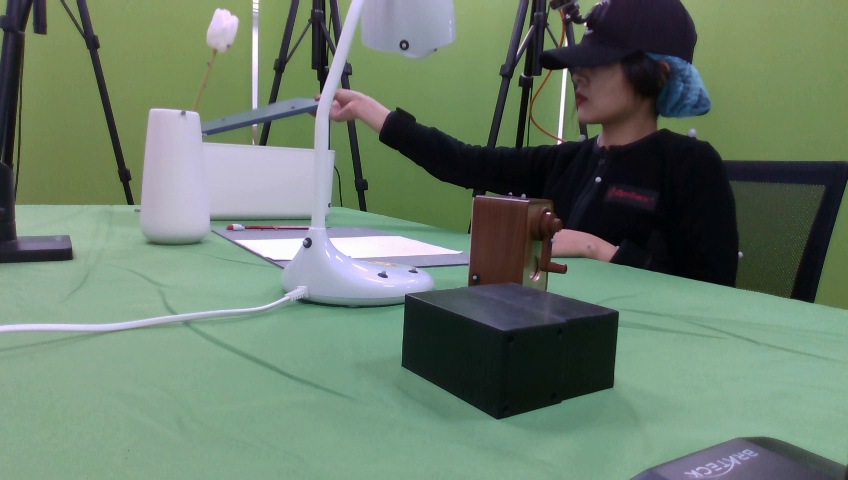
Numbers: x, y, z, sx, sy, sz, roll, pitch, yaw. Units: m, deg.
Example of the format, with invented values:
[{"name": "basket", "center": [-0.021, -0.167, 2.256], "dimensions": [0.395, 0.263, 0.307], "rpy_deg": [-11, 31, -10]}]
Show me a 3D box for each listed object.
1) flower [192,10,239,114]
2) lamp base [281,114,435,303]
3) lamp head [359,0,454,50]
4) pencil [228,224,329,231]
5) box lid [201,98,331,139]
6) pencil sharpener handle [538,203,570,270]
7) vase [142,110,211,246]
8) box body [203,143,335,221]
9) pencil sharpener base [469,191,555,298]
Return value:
[{"name": "flower", "center": [-0.354, -0.174, 0.915], "dimensions": [0.038, 0.361, 0.044], "rpy_deg": [18, -4, 12]}, {"name": "lamp base", "center": [-0.071, -0.035, 0.614], "dimensions": [0.160, 0.180, 0.180], "rpy_deg": [6, 10, 27]}, {"name": "lamp head", "center": [-0.024, -0.282, 0.674], "dimensions": [0.112, 0.123, 0.112], "rpy_deg": [-3, 38, 3]}, {"name": "pencil", "center": [-0.265, -0.023, 1.124], "dimensions": [0.195, 0.012, 0.012], "rpy_deg": [-1, 8, -32]}, {"name": "box lid", "center": [-0.411, -0.267, 1.355], "dimensions": [0.373, 0.015, 0.262], "rpy_deg": [-22, 22, -25]}, {"name": "pencil sharpener handle", "center": [0.137, -0.003, 0.619], "dimensions": [0.030, 0.067, 0.036], "rpy_deg": [8, 4, 38]}, {"name": "vase", "center": [-0.378, -0.093, 0.920], "dimensions": [0.098, 0.200, 0.098], "rpy_deg": [2, 9, 0]}, {"name": "box body", "center": [-0.412, -0.135, 1.379], "dimensions": [0.366, 0.160, 0.253], "rpy_deg": [-2, 9, -31]}, {"name": "pencil sharpener base", "center": [0.097, 0.003, 0.652], "dimensions": [0.076, 0.107, 0.061], "rpy_deg": [8, 9, 38]}]
